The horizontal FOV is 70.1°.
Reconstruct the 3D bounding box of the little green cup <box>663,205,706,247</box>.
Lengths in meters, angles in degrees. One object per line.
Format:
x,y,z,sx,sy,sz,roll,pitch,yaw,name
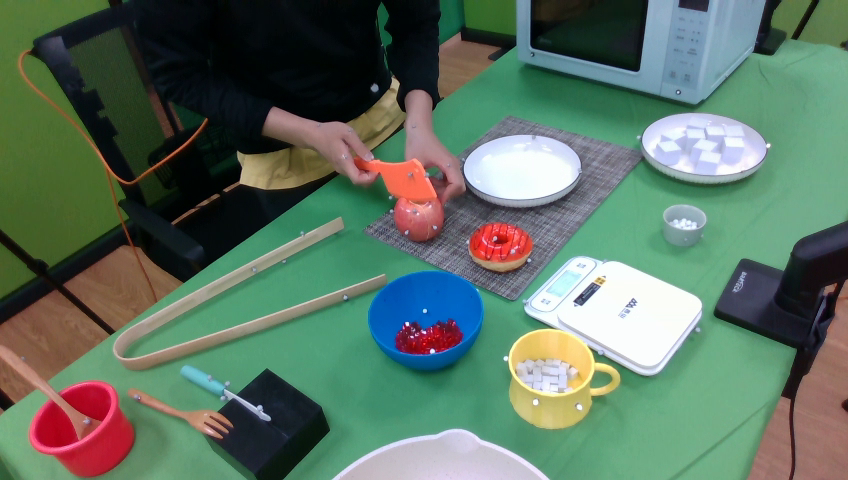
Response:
0.396,-0.020,0.927,0.061,0.039,0.061,-4,40,4,little green cup

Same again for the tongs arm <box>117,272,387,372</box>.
-0.236,0.115,0.870,0.389,0.028,0.028,-19,48,-12,tongs arm

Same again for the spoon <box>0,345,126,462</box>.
-0.434,0.192,0.720,0.194,0.021,0.042,47,53,-7,spoon

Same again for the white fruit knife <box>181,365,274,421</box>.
-0.245,0.187,0.747,0.205,0.027,0.016,9,41,40,white fruit knife

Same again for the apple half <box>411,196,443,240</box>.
0.001,-0.043,0.980,0.053,0.075,0.080,-27,40,-32,apple half

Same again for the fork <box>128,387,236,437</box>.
-0.305,0.207,0.744,0.206,0.019,0.028,3,42,36,fork

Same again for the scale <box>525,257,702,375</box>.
0.254,0.091,0.821,0.199,0.032,0.149,28,51,35,scale

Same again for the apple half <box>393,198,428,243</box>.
-0.027,-0.026,0.961,0.033,0.081,0.080,-29,45,-30,apple half

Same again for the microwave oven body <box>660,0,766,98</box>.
0.472,-0.513,1.317,0.438,0.261,0.327,26,51,34,microwave oven body

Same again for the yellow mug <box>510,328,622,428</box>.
0.168,0.164,0.722,0.130,0.064,0.099,0,40,8,yellow mug

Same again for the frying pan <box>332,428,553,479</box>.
-0.089,0.306,0.564,0.487,0.103,0.306,10,41,7,frying pan

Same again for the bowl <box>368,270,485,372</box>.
0.007,0.118,0.791,0.151,0.077,0.150,-4,40,4,bowl

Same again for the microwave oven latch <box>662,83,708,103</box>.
0.517,-0.296,1.204,0.078,0.029,0.030,28,52,35,microwave oven latch

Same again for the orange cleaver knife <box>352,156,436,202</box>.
-0.051,-0.099,0.959,0.012,0.077,0.209,-30,27,-28,orange cleaver knife

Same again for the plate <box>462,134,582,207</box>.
0.173,-0.119,1.070,0.209,0.038,0.208,-4,40,4,plate

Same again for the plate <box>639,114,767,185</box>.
0.489,-0.157,1.074,0.207,0.039,0.206,-4,40,4,plate

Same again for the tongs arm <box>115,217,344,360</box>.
-0.280,0.069,0.927,0.386,0.026,0.050,-29,48,-23,tongs arm

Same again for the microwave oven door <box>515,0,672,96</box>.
0.343,-0.455,1.259,0.353,0.245,0.039,26,51,33,microwave oven door

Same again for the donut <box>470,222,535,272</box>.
0.119,0.009,0.923,0.099,0.048,0.098,-4,38,3,donut
